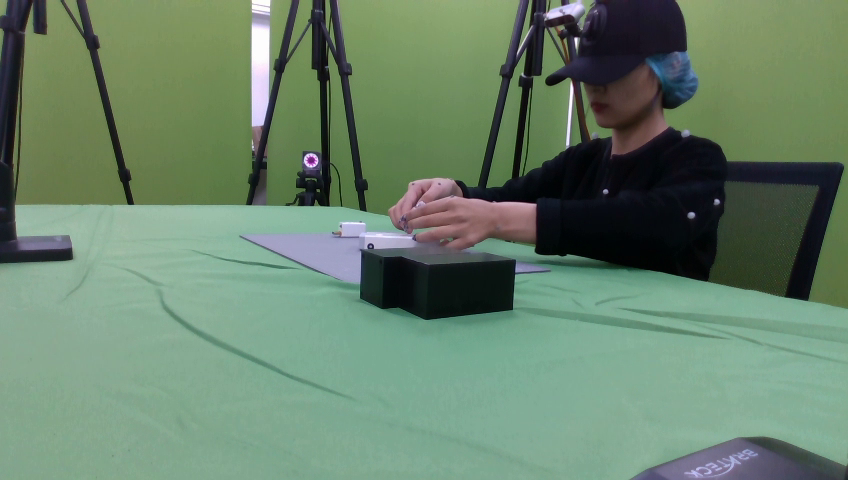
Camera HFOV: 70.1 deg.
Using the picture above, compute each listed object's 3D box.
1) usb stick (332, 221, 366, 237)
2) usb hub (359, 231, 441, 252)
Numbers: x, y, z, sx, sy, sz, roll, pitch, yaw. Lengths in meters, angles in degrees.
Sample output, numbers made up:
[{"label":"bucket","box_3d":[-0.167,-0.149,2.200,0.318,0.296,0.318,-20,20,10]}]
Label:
[{"label":"usb stick","box_3d":[-0.134,-0.020,1.070,0.059,0.027,0.021,-4,10,-26]},{"label":"usb hub","box_3d":[-0.036,0.002,0.934,0.125,0.025,0.049,2,7,-2]}]
